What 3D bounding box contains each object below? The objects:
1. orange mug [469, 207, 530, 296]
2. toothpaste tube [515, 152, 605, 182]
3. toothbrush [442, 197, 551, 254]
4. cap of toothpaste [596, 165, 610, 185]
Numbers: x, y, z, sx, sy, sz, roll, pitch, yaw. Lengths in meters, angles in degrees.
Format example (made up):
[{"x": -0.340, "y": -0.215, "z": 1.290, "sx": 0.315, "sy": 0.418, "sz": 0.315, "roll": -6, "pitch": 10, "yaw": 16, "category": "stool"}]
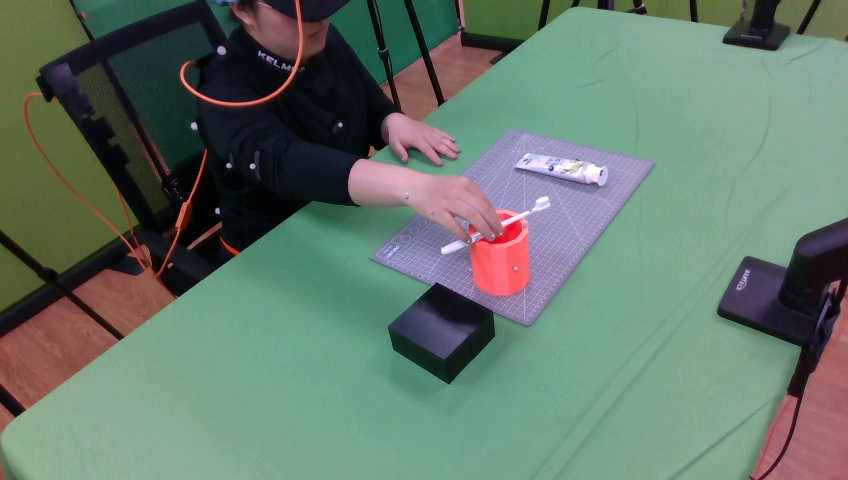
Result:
[{"x": 0.104, "y": 0.008, "z": 0.894, "sx": 0.084, "sy": 0.101, "sz": 0.125, "roll": -22, "pitch": 46, "yaw": -14, "category": "orange mug"}, {"x": 0.249, "y": -0.133, "z": 1.087, "sx": 0.164, "sy": 0.034, "sz": 0.055, "roll": 17, "pitch": 42, "yaw": 35, "category": "toothpaste tube"}, {"x": 0.104, "y": -0.021, "z": 0.846, "sx": 0.182, "sy": 0.017, "sz": 0.014, "roll": -25, "pitch": 48, "yaw": -18, "category": "toothbrush"}, {"x": 0.307, "y": -0.113, "z": 1.041, "sx": 0.011, "sy": 0.037, "sz": 0.037, "roll": 20, "pitch": 48, "yaw": 39, "category": "cap of toothpaste"}]
